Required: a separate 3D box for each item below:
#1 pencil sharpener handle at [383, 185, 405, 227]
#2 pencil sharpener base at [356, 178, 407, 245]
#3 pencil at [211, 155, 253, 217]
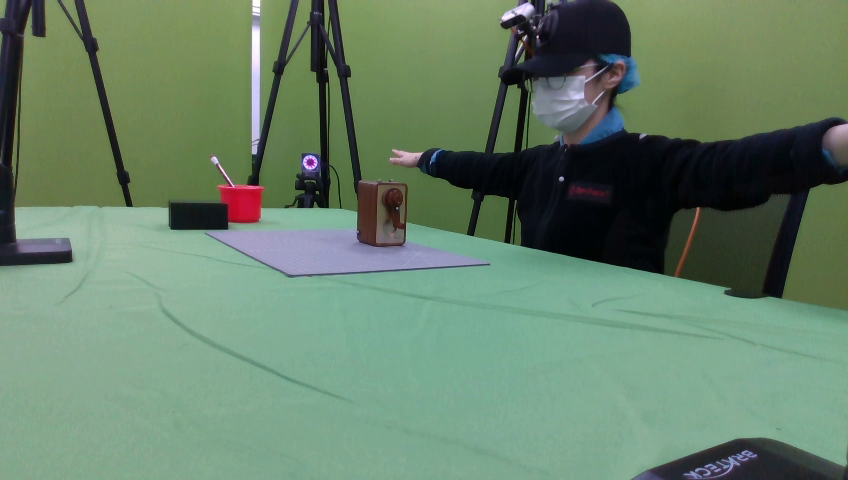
[{"bbox_3d":[-0.042,-0.055,0.975,0.036,0.067,0.030,-9,13,-31],"label":"pencil sharpener handle"},{"bbox_3d":[-0.071,-0.049,1.018,0.062,0.107,0.076,-2,9,-32],"label":"pencil sharpener base"},{"bbox_3d":[-0.422,-0.120,1.331,0.012,0.012,0.193,-7,53,-52],"label":"pencil"}]
